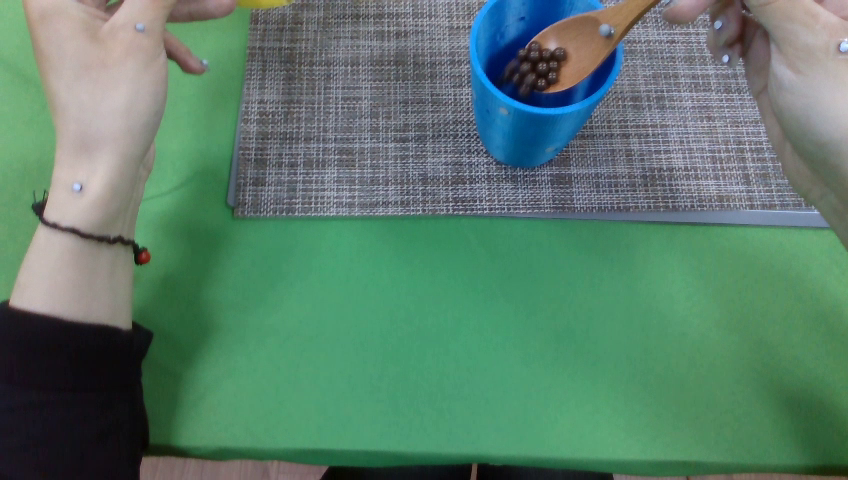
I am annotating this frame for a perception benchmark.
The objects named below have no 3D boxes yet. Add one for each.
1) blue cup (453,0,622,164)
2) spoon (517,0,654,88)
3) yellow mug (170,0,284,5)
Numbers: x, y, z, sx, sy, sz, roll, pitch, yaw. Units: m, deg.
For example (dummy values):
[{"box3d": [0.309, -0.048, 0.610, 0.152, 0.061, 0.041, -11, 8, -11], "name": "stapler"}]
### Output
[{"box3d": [0.067, -0.095, 0.379, 0.092, 0.101, 0.092, 0, 73, 1], "name": "blue cup"}, {"box3d": [0.123, -0.126, 0.292, 0.022, 0.193, 0.041, 5, 72, -39], "name": "spoon"}, {"box3d": [-0.114, -0.191, 0.354, 0.100, 0.064, 0.130, 37, 74, 5], "name": "yellow mug"}]
